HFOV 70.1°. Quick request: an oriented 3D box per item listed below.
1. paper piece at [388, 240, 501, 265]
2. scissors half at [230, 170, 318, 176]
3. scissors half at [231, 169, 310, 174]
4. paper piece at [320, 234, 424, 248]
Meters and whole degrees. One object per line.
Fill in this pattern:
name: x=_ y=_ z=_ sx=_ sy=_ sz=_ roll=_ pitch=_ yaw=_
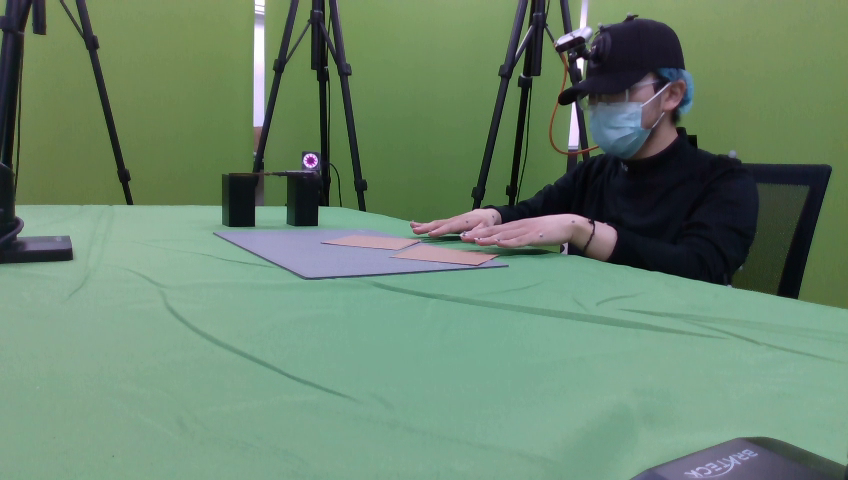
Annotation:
paper piece: x=0.034 y=0.020 z=0.905 sx=0.138 sy=0.008 sz=0.136 roll=7 pitch=12 yaw=20
scissors half: x=-0.297 y=-0.133 z=1.209 sx=0.176 sy=0.013 sz=0.040 roll=-3 pitch=10 yaw=-24
scissors half: x=-0.309 y=-0.137 z=1.226 sx=0.176 sy=0.013 sz=0.040 roll=-7 pitch=17 yaw=-41
paper piece: x=-0.084 y=-0.001 z=1.018 sx=0.135 sy=0.004 sz=0.136 roll=4 pitch=8 yaw=17
